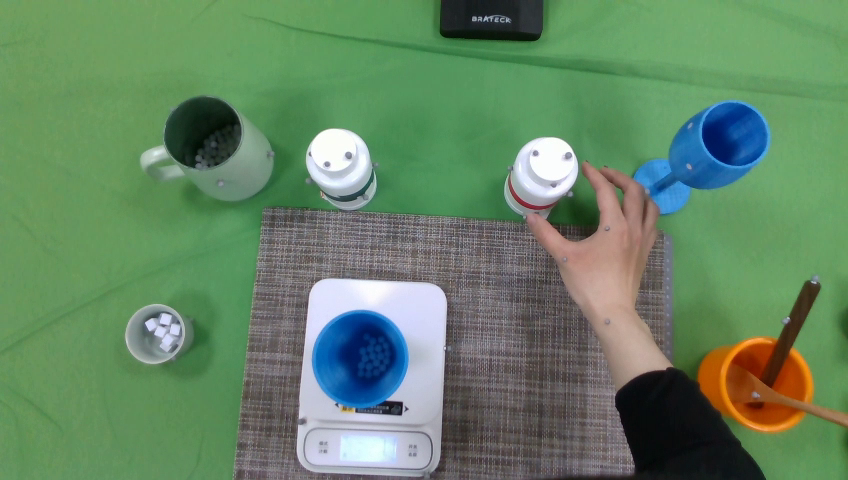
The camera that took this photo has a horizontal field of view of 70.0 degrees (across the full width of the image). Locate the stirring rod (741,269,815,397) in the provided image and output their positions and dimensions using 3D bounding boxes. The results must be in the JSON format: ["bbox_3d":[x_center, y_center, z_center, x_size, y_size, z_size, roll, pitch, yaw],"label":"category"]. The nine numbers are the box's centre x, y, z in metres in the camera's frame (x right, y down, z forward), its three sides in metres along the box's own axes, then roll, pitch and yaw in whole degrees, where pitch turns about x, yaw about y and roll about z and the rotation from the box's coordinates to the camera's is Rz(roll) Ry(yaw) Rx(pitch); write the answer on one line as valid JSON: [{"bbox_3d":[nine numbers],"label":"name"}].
[{"bbox_3d":[0.342,0.097,0.591,0.014,0.178,0.006,11,40,15],"label":"stirring rod"}]

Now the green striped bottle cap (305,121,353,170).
[{"bbox_3d":[-0.090,-0.090,0.577,0.044,0.020,0.044,0,80,-1],"label":"green striped bottle cap"}]

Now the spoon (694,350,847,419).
[{"bbox_3d":[0.358,0.150,0.583,0.022,0.192,0.041,19,88,-41],"label":"spoon"}]

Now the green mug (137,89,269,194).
[{"bbox_3d":[-0.234,-0.096,0.637,0.125,0.105,0.092,-19,82,-3],"label":"green mug"}]

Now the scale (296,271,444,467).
[{"bbox_3d":[-0.056,0.134,0.636,0.149,0.031,0.200,3,82,0],"label":"scale"}]

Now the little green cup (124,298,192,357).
[{"bbox_3d":[-0.278,0.093,0.640,0.061,0.039,0.061,0,81,-2],"label":"little green cup"}]

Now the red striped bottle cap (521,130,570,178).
[{"bbox_3d":[0.116,-0.082,0.577,0.044,0.018,0.044,0,79,0],"label":"red striped bottle cap"}]

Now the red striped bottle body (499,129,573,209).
[{"bbox_3d":[0.116,-0.074,0.630,0.063,0.120,0.063,0,80,0],"label":"red striped bottle body"}]

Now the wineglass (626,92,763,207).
[{"bbox_3d":[0.262,-0.084,0.606,0.074,0.173,0.073,0,80,0],"label":"wineglass"}]

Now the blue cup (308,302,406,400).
[{"bbox_3d":[-0.059,0.102,0.575,0.093,0.100,0.092,0,83,-2],"label":"blue cup"}]

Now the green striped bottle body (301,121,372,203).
[{"bbox_3d":[-0.090,-0.081,0.628,0.063,0.119,0.063,0,80,0],"label":"green striped bottle body"}]
